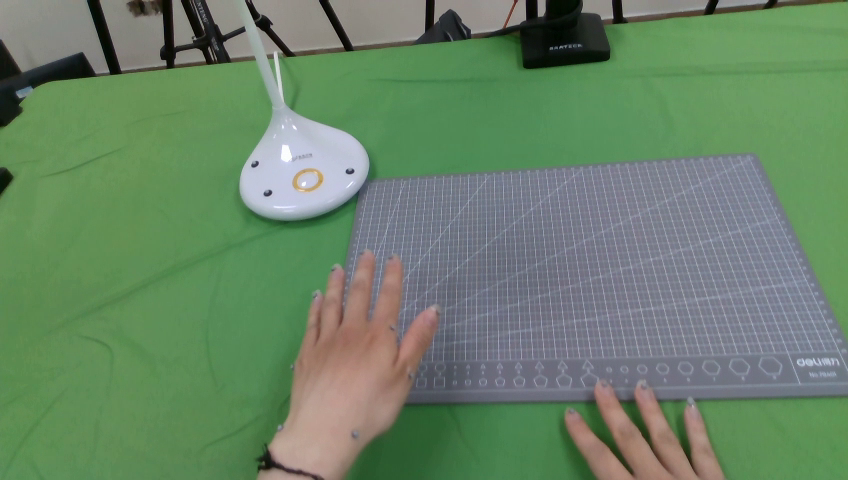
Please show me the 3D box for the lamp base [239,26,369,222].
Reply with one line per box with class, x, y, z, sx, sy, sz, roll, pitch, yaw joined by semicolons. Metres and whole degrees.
lamp base;-0.163;-0.139;0.694;0.161;0.182;0.177;-25;44;-13
